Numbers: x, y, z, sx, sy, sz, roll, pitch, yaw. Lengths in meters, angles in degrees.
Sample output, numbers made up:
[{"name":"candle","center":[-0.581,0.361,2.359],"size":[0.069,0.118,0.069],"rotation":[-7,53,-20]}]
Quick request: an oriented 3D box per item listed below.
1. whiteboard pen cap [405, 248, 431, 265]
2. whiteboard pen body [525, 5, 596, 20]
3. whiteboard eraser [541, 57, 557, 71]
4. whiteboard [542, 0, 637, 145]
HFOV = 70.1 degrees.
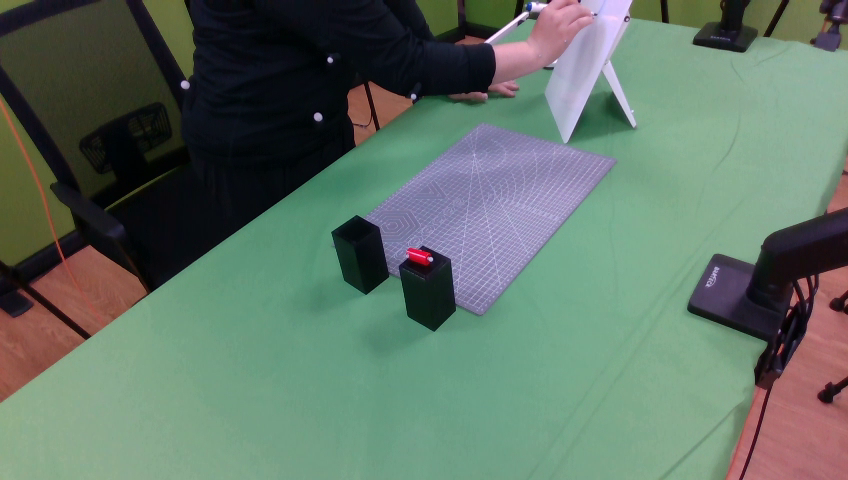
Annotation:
[{"name":"whiteboard pen cap","center":[-0.008,0.021,0.794],"size":[0.032,0.017,0.017],"rotation":[16,45,28]},{"name":"whiteboard pen body","center":[0.248,-0.409,1.090],"size":[0.141,0.017,0.016],"rotation":[0,38,-16]},{"name":"whiteboard eraser","center":[0.324,-0.412,1.407],"size":[0.101,0.019,0.041],"rotation":[2,42,11]},{"name":"whiteboard","center":[0.366,-0.351,1.160],"size":[0.144,0.305,0.216],"rotation":[10,39,-10]}]
